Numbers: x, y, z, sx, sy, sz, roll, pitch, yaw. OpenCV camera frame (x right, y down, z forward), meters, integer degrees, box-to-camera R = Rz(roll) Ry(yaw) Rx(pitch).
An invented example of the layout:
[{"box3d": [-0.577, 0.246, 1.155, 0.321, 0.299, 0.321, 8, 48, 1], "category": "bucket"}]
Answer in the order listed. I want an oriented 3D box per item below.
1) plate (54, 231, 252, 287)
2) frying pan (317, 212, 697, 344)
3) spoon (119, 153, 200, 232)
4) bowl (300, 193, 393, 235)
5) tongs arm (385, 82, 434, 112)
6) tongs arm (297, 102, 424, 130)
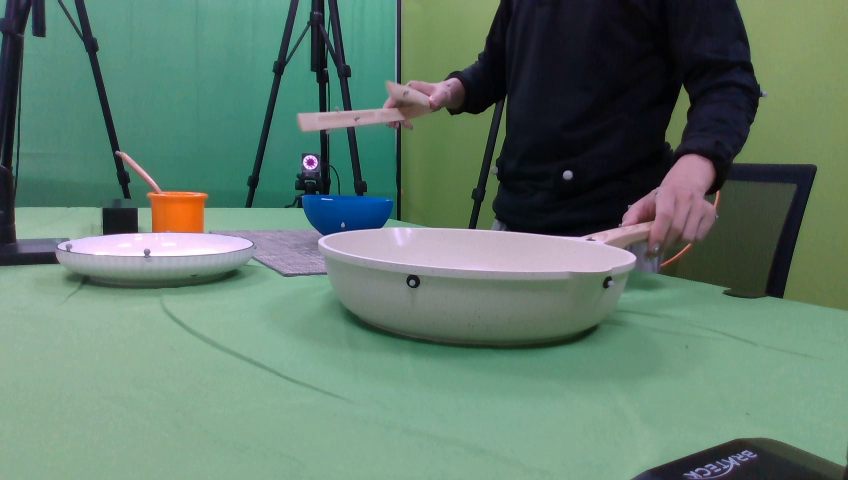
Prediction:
[{"box3d": [-0.309, 0.020, 0.705, 0.208, 0.039, 0.207, 2, 7, 0], "category": "plate"}, {"box3d": [0.133, 0.013, 0.629, 0.490, 0.102, 0.305, -12, 14, -31], "category": "frying pan"}, {"box3d": [-0.439, -0.077, 1.001, 0.021, 0.193, 0.042, -43, -7, 21], "category": "spoon"}, {"box3d": [-0.128, -0.034, 0.995, 0.151, 0.077, 0.151, 2, 7, 0], "category": "bowl"}, {"box3d": [-0.018, -0.226, 0.968, 0.028, 0.028, 0.388, -21, 6, 12], "category": "tongs arm"}, {"box3d": [-0.086, -0.209, 0.991, 0.050, 0.026, 0.386, -16, 7, 22], "category": "tongs arm"}]
